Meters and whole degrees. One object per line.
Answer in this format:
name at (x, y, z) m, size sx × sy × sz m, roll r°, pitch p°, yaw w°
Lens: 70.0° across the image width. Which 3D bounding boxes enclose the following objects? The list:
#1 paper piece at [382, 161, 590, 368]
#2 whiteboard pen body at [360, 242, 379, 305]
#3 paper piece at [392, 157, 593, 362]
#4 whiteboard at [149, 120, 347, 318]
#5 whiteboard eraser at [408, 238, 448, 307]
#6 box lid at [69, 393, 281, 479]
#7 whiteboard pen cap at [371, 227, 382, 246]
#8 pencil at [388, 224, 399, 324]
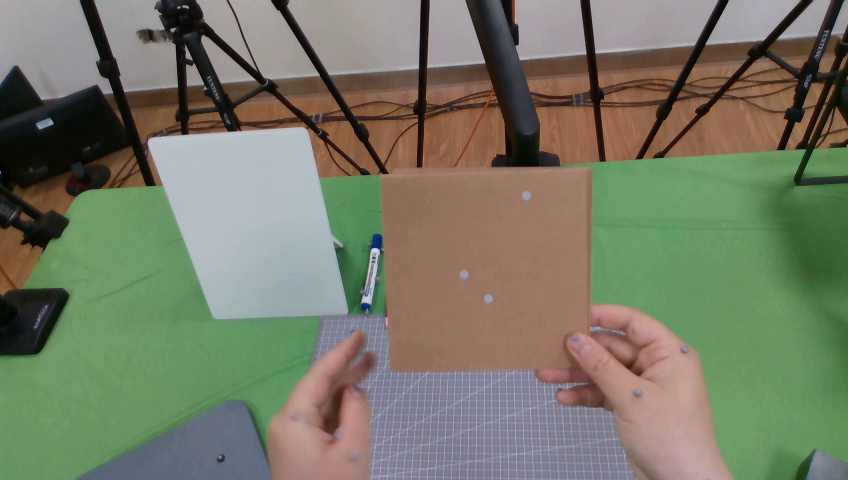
paper piece at (0.042, 0.018, 0.398) m, size 0.135 × 0.136 × 0.004 m, roll -1°, pitch 7°, yaw 2°
whiteboard pen body at (-0.084, 0.042, 0.959) m, size 0.017 × 0.017 × 0.139 m, roll -1°, pitch 51°, yaw 9°
paper piece at (0.044, 0.012, 0.416) m, size 0.135 × 0.008 × 0.138 m, roll 2°, pitch 96°, yaw 15°
whiteboard at (-0.231, -0.049, 0.910) m, size 0.217 × 0.308 × 0.143 m, roll -2°, pitch 32°, yaw 8°
whiteboard eraser at (0.007, 0.049, 0.923) m, size 0.055 × 0.042 × 0.111 m, roll -3°, pitch 51°, yaw 8°
box lid at (-0.282, 0.378, 0.721) m, size 0.263 × 0.015 × 0.367 m, roll -27°, pitch 52°, yaw -12°
whiteboard pen cap at (-0.078, -0.004, 0.995) m, size 0.018 × 0.018 × 0.033 m, roll -3°, pitch 49°, yaw 7°
pencil at (-0.049, 0.049, 0.952) m, size 0.012 × 0.012 × 0.192 m, roll -4°, pitch 51°, yaw 6°
